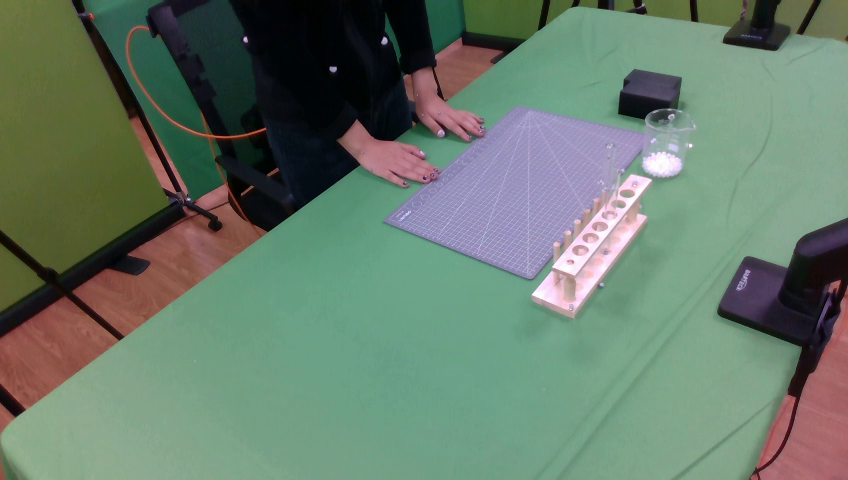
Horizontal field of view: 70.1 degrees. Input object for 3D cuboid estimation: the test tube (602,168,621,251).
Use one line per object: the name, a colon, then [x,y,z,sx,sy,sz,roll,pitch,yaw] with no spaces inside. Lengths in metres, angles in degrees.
test tube: [0.264,-0.039,0.854,0.017,0.151,0.017,-5,44,6]

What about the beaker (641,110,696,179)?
beaker: [0.415,-0.161,1.035,0.083,0.101,0.074,19,48,29]

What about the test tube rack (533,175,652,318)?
test tube rack: [0.250,-0.001,0.889,0.066,0.085,0.243,23,49,33]

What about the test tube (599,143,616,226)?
test tube: [0.273,-0.081,0.909,0.017,0.151,0.017,-4,42,4]
